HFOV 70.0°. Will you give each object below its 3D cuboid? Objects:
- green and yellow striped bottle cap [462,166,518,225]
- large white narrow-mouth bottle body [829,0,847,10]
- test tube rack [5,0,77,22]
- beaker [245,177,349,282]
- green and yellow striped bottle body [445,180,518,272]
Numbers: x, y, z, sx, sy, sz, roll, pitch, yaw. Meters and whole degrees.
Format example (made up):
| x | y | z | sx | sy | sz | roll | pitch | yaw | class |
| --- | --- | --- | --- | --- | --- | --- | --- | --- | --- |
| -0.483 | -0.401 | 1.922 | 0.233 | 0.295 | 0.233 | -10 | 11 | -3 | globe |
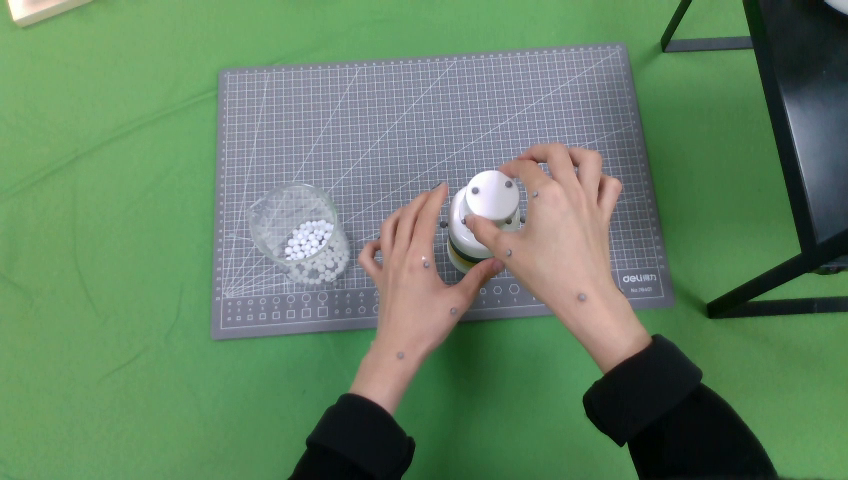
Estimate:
| x | y | z | sx | sy | sz | roll | pitch | yaw | class |
| --- | --- | --- | --- | --- | --- | --- | --- | --- | --- |
| 0.053 | -0.036 | 0.482 | 0.045 | 0.020 | 0.045 | 0 | 74 | 0 | green and yellow striped bottle cap |
| 0.347 | -0.246 | 0.394 | 0.102 | 0.196 | 0.101 | -1 | 72 | 3 | large white narrow-mouth bottle body |
| -0.370 | -0.338 | 0.673 | 0.242 | 0.085 | 0.066 | -24 | 74 | -7 | test tube rack |
| -0.113 | -0.005 | 0.561 | 0.084 | 0.101 | 0.073 | 16 | 73 | 6 | beaker |
| 0.051 | -0.015 | 0.551 | 0.063 | 0.120 | 0.063 | 0 | 73 | 2 | green and yellow striped bottle body |
